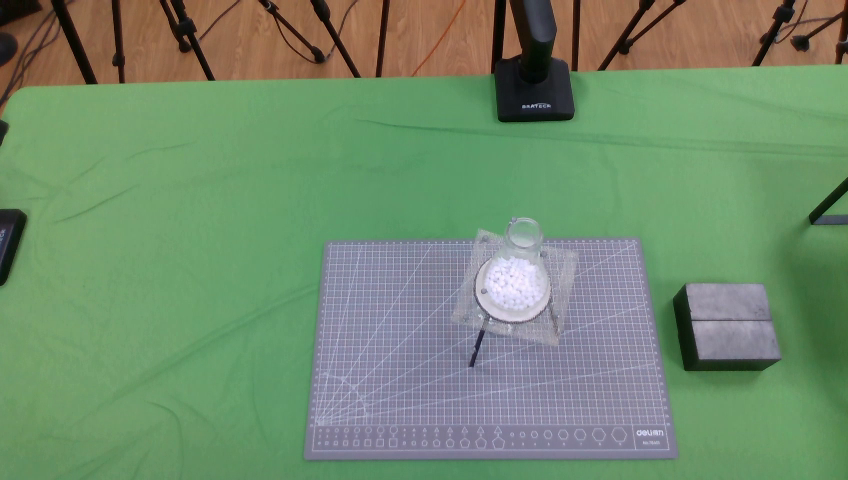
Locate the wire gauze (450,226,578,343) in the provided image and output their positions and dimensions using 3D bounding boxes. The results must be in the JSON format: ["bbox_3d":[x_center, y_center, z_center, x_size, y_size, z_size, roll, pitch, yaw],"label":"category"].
[{"bbox_3d":[0.104,0.049,0.687,0.121,0.011,0.124,15,62,8],"label":"wire gauze"}]

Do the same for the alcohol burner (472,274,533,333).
[{"bbox_3d":[0.100,0.072,0.761,0.078,0.120,0.077,-1,64,3],"label":"alcohol burner"}]

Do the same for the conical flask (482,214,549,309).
[{"bbox_3d":[0.101,0.019,0.637,0.075,0.123,0.074,-1,62,2],"label":"conical flask"}]

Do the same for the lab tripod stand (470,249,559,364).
[{"bbox_3d":[0.101,0.077,0.747,0.148,0.132,0.147,-1,62,3],"label":"lab tripod stand"}]
